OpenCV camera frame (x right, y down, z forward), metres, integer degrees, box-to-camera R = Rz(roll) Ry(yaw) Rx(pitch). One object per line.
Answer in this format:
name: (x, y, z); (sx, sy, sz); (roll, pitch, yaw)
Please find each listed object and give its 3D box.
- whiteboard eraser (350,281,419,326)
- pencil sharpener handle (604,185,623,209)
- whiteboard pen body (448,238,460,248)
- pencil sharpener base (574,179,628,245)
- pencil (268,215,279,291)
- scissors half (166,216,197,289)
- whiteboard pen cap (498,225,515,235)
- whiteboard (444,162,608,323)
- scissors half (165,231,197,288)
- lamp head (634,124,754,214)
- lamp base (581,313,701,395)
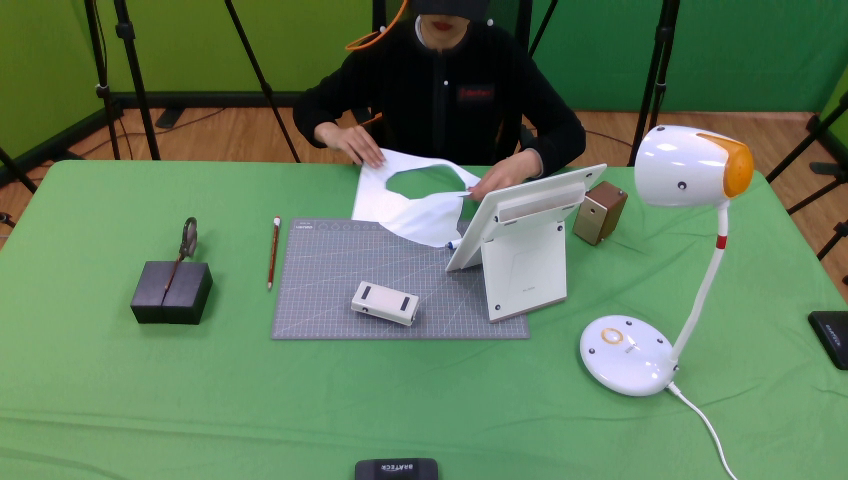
whiteboard eraser: (-0.069, 0.113, 1.065); (0.112, 0.042, 0.055); (14, 46, 9)
pencil sharpener handle: (0.390, -0.092, 1.235); (0.030, 0.068, 0.036); (-34, 69, -31)
whiteboard pen body: (0.112, -0.005, 1.204); (0.141, 0.017, 0.017); (-14, 49, -18)
pencil sharpener base: (0.355, -0.057, 1.217); (0.076, 0.107, 0.061); (-34, 56, -31)
pencil: (-0.290, 0.022, 1.164); (0.012, 0.012, 0.192); (-2, 48, -6)
scissors half: (-0.436, 0.020, 1.085); (0.013, 0.040, 0.174); (6, 47, -6)
whiteboard pen cap: (0.166, -0.019, 1.223); (0.033, 0.018, 0.018); (-14, 49, -18)
whiteboard: (0.186, 0.025, 1.029); (0.217, 0.306, 0.143); (-14, 68, -18)
scissors half: (-0.440, 0.036, 1.098); (0.013, 0.040, 0.174); (11, 28, -9)
lamp head: (0.351, -0.089, 0.775); (0.112, 0.113, 0.122); (-30, 30, -28)
lamp base: (0.361, 0.144, 0.973); (0.178, 0.181, 0.160); (34, 53, 23)
